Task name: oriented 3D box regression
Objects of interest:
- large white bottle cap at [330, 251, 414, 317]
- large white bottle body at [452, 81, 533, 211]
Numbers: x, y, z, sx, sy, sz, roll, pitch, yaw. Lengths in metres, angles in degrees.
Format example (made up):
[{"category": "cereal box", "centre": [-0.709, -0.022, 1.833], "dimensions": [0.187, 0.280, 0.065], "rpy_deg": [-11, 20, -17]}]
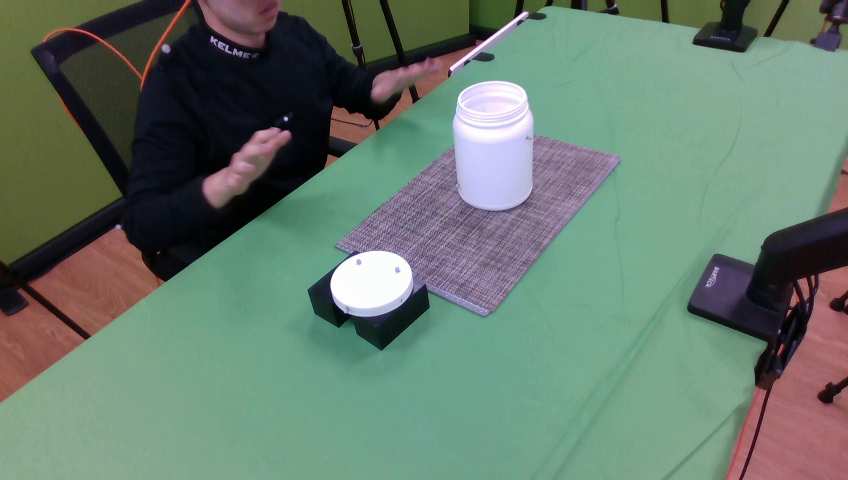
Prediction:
[{"category": "large white bottle cap", "centre": [-0.072, 0.059, 0.836], "dimensions": [0.115, 0.018, 0.114], "rpy_deg": [-4, 41, 4]}, {"category": "large white bottle body", "centre": [0.115, -0.156, 1.002], "dimensions": [0.130, 0.185, 0.130], "rpy_deg": [-5, 41, 4]}]
